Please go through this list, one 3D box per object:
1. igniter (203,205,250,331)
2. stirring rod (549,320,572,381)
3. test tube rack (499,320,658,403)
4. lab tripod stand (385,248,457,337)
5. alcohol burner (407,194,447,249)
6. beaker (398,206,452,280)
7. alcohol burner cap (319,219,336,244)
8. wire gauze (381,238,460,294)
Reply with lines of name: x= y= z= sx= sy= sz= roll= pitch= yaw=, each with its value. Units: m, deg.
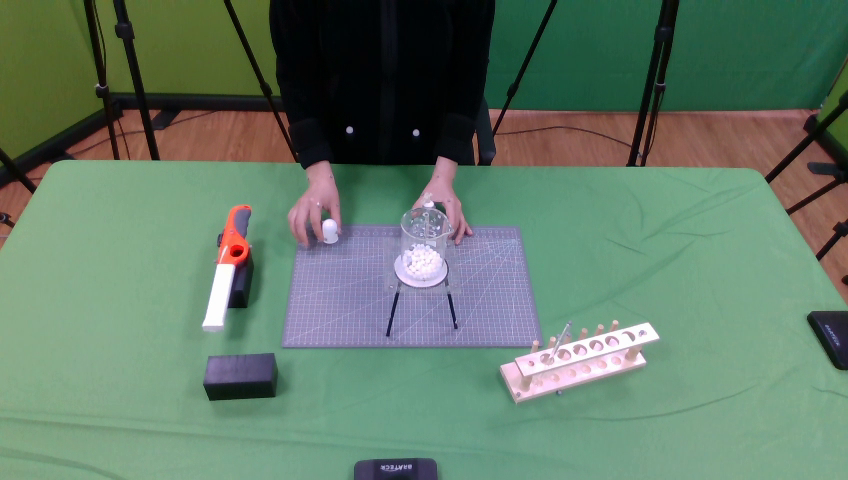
igniter: x=-0.345 y=0.039 z=1.065 sx=0.057 sy=0.025 sz=0.274 roll=2 pitch=48 yaw=-6
stirring rod: x=0.202 y=0.167 z=0.901 sx=0.006 sy=0.177 sz=0.014 roll=-17 pitch=54 yaw=-11
test tube rack: x=0.252 y=0.187 z=0.994 sx=0.243 sy=0.085 sz=0.066 roll=-12 pitch=48 yaw=-15
lab tripod stand: x=-0.010 y=0.087 z=1.032 sx=0.148 sy=0.132 sz=0.147 roll=1 pitch=45 yaw=-1
alcohol burner: x=0.006 y=-0.040 z=1.170 sx=0.078 sy=0.120 sz=0.077 roll=1 pitch=46 yaw=-1
beaker: x=0.000 y=0.008 z=0.950 sx=0.084 sy=0.101 sz=0.073 roll=10 pitch=45 yaw=6
alcohol burner cap: x=-0.185 y=-0.018 z=1.162 sx=0.034 sy=0.048 sz=0.033 roll=4 pitch=44 yaw=-4
wire gauze: x=-0.007 y=0.042 z=0.985 sx=0.125 sy=0.011 sz=0.120 roll=-1 pitch=43 yaw=-2
